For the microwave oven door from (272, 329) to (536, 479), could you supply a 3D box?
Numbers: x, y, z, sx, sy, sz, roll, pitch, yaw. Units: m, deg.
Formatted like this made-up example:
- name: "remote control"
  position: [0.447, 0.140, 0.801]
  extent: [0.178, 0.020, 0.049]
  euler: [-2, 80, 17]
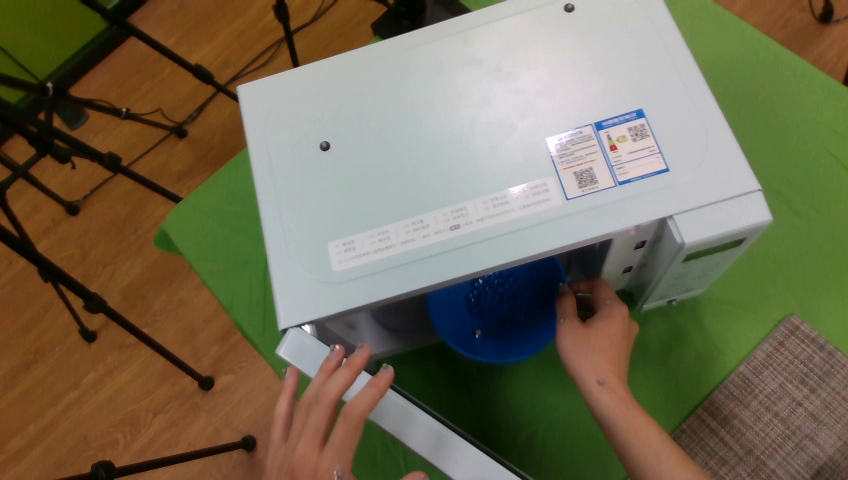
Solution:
- name: "microwave oven door"
  position: [0.037, 0.207, 0.586]
  extent: [0.354, 0.245, 0.039]
  euler: [29, 77, 18]

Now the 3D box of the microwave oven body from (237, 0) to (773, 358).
- name: "microwave oven body"
  position: [0.067, -0.061, 0.683]
  extent: [0.442, 0.262, 0.323]
  euler: [-17, 69, 4]

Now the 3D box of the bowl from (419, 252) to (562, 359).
- name: "bowl"
  position: [0.074, 0.063, 0.666]
  extent: [0.151, 0.077, 0.150]
  euler: [-3, 67, 8]

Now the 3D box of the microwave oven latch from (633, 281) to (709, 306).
- name: "microwave oven latch"
  position: [0.288, 0.053, 0.710]
  extent: [0.079, 0.030, 0.030]
  euler: [-15, 69, 4]

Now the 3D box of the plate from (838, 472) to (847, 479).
- name: "plate"
  position: [0.489, 0.323, 0.595]
  extent: [0.207, 0.039, 0.206]
  euler: [-3, 70, 8]
